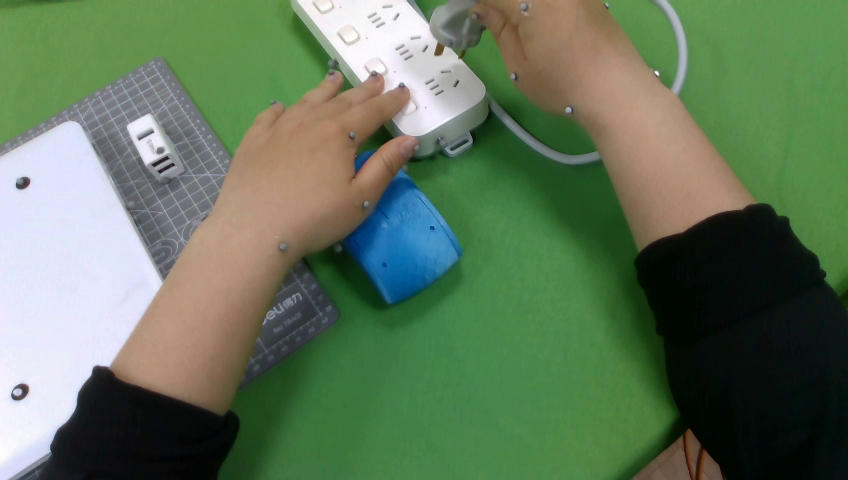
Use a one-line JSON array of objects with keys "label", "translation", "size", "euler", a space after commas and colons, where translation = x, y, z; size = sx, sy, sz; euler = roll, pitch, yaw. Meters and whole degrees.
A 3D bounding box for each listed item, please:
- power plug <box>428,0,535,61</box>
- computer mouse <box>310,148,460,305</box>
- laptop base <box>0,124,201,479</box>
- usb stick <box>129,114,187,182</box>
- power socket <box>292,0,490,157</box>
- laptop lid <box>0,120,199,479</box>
[{"label": "power plug", "translation": [0.038, -0.143, 0.411], "size": [0.073, 0.053, 0.035], "euler": [1, 61, -17]}, {"label": "computer mouse", "translation": [-0.029, -0.015, 0.400], "size": [0.063, 0.041, 0.116], "euler": [-33, 59, -6]}, {"label": "laptop base", "translation": [-0.343, 0.087, 0.398], "size": [0.354, 0.023, 0.233], "euler": [-34, 67, -10]}, {"label": "usb stick", "translation": [-0.202, -0.074, 0.455], "size": [0.021, 0.027, 0.058], "euler": [-32, 61, -8]}, {"label": "power socket", "translation": [-0.032, -0.153, 0.473], "size": [0.072, 0.033, 0.224], "euler": [-32, 64, -8]}, {"label": "laptop lid", "translation": [-0.344, 0.083, 0.387], "size": [0.357, 0.013, 0.239], "euler": [-33, 66, -9]}]
